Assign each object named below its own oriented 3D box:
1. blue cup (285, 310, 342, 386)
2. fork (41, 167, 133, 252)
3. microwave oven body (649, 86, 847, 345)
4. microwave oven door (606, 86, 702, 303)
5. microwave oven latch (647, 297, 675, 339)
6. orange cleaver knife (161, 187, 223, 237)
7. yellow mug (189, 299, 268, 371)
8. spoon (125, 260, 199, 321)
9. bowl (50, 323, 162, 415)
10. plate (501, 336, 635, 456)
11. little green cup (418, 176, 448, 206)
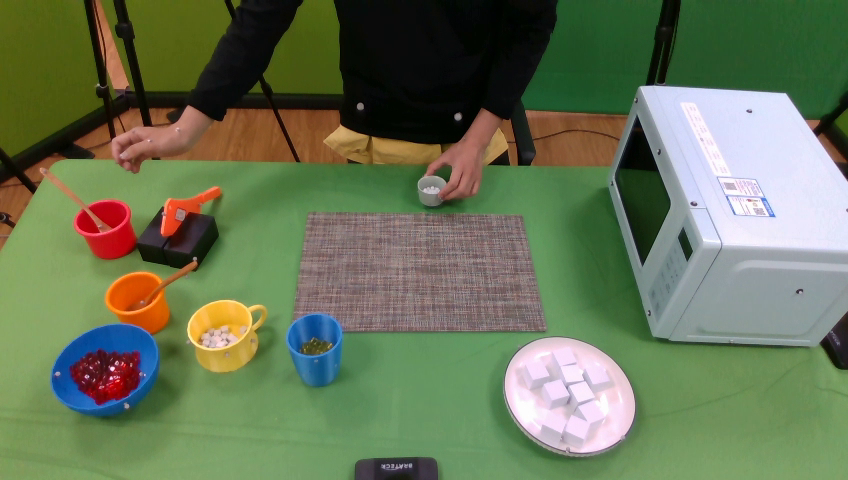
[{"bbox_3d":[-0.170,0.179,0.958,0.093,0.101,0.092,2,44,-1],"label":"blue cup"},{"bbox_3d":[-0.624,-0.056,1.121,0.208,0.018,0.028,49,52,-15],"label":"fork"},{"bbox_3d":[0.568,-0.053,1.118,0.326,0.261,0.439,2,45,-1],"label":"microwave oven body"},{"bbox_3d":[0.423,-0.094,1.141,0.039,0.245,0.353,2,46,-1],"label":"microwave oven door"},{"bbox_3d":[0.413,0.134,1.061,0.030,0.029,0.078,5,45,2],"label":"microwave oven latch"},{"bbox_3d":[-0.449,-0.059,1.181,0.012,0.077,0.211,14,17,6],"label":"orange cleaver knife"},{"bbox_3d":[-0.316,0.148,1.002,0.131,0.064,0.099,-32,56,-31],"label":"yellow mug"},{"bbox_3d":[-0.434,0.083,0.999,0.022,0.194,0.041,35,34,-34],"label":"spoon"},{"bbox_3d":[-0.472,0.209,0.924,0.151,0.077,0.150,2,45,-2],"label":"bowl"},{"bbox_3d":[0.225,0.248,0.963,0.208,0.039,0.206,2,46,-2],"label":"plate"},{"bbox_3d":[0.017,-0.101,1.269,0.061,0.039,0.061,5,43,-5],"label":"little green cup"}]
